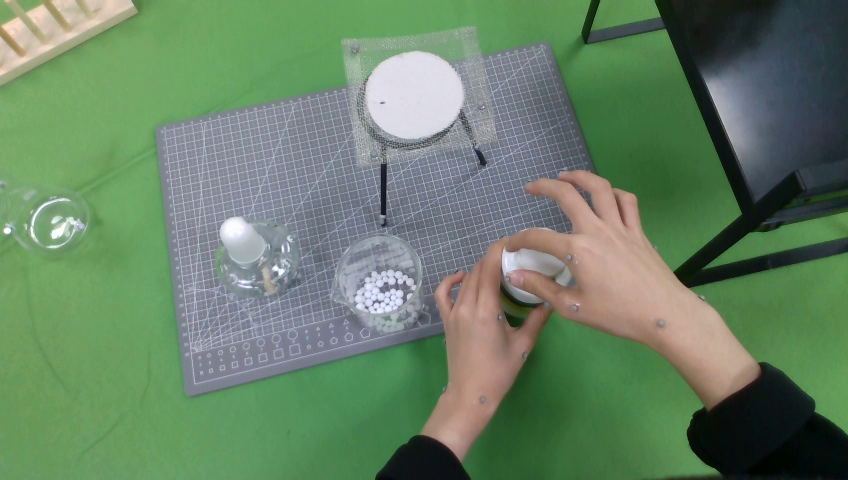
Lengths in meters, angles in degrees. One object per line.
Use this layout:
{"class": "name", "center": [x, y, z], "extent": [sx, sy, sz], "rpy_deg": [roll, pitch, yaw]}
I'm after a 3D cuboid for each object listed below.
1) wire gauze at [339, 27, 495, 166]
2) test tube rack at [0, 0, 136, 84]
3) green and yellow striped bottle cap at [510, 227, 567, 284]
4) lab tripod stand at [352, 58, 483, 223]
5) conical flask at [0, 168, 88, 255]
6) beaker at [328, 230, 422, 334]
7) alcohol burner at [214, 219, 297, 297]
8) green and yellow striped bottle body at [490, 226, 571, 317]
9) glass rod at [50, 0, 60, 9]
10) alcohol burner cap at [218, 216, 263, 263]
{"class": "wire gauze", "center": [-0.007, -0.128, 0.523], "extent": [0.121, 0.011, 0.124], "rpy_deg": [-8, 72, -3]}
{"class": "test tube rack", "center": [-0.462, -0.245, 0.671], "extent": [0.242, 0.085, 0.066], "rpy_deg": [-33, 74, -9]}
{"class": "green and yellow striped bottle cap", "center": [0.094, 0.012, 0.496], "extent": [0.045, 0.020, 0.045], "rpy_deg": [1, 69, -1]}
{"class": "lab tripod stand", "center": [-0.012, -0.101, 0.585], "extent": [0.148, 0.132, 0.147], "rpy_deg": [0, 70, 0]}
{"class": "conical flask", "center": [-0.390, -0.038, 0.581], "extent": [0.075, 0.122, 0.075], "rpy_deg": [0, 71, 2]}
{"class": "beaker", "center": [-0.040, 0.045, 0.556], "extent": [0.084, 0.101, 0.073], "rpy_deg": [-24, 72, -6]}
{"class": "alcohol burner", "center": [-0.160, 0.011, 0.562], "extent": [0.078, 0.120, 0.077], "rpy_deg": [0, 69, 0]}
{"class": "green and yellow striped bottle body", "center": [0.095, 0.028, 0.547], "extent": [0.063, 0.120, 0.063], "rpy_deg": [0, 72, 2]}
{"class": "glass rod", "center": [-0.425, -0.310, 0.622], "extent": [0.008, 0.201, 0.008], "rpy_deg": [1, 68, -3]}
{"class": "alcohol burner cap", "center": [-0.162, -0.003, 0.528], "extent": [0.034, 0.048, 0.033], "rpy_deg": [0, 64, 0]}
